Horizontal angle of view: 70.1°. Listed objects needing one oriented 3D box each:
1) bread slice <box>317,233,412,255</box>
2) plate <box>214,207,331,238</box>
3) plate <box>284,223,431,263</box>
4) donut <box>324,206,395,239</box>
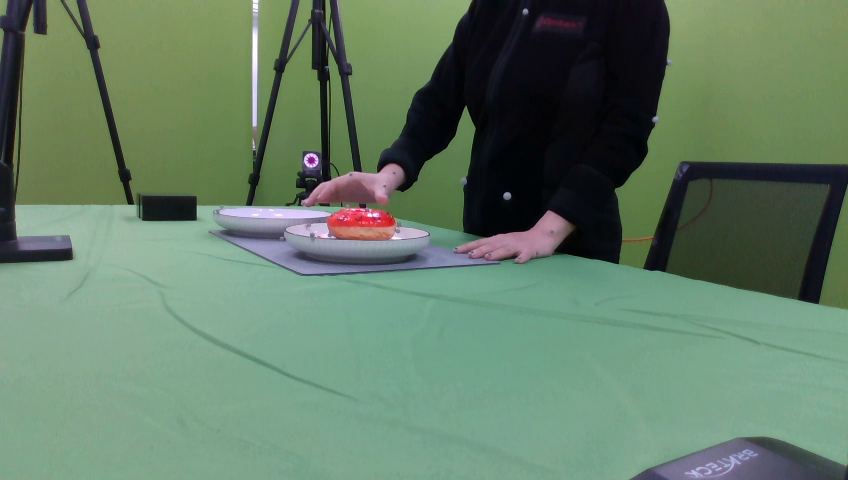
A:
[{"bbox_3d":[-0.096,0.004,0.863,0.107,0.018,0.133,-1,7,-31],"label":"bread slice"},{"bbox_3d":[-0.268,-0.032,1.084,0.208,0.039,0.207,2,7,0],"label":"plate"},{"bbox_3d":[-0.094,0.003,0.868,0.209,0.038,0.209,2,7,0],"label":"plate"},{"bbox_3d":[-0.089,-0.022,0.847,0.099,0.048,0.099,4,8,0],"label":"donut"}]
